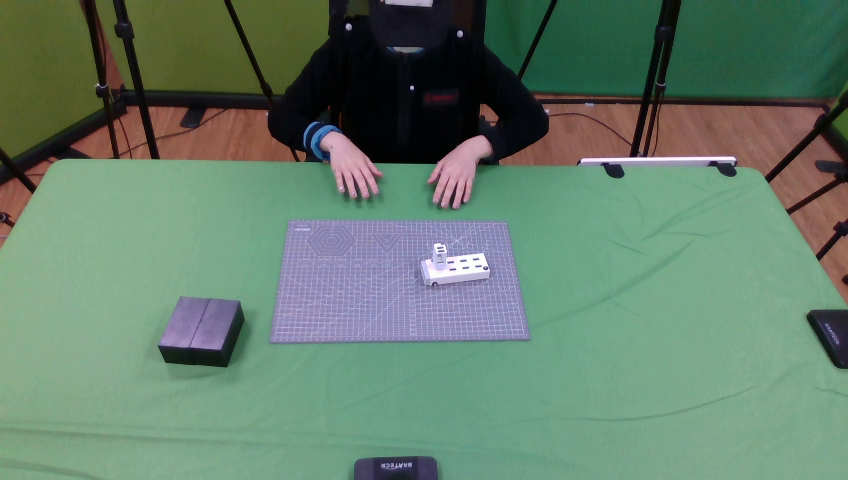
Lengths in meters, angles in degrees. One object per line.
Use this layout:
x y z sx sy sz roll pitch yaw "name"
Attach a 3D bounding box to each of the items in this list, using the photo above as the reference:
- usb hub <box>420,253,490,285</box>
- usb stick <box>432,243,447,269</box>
0.059 0.055 1.142 0.125 0.025 0.049 -7 47 -10 "usb hub"
0.028 0.034 1.116 0.021 0.059 0.027 -8 50 -12 "usb stick"
